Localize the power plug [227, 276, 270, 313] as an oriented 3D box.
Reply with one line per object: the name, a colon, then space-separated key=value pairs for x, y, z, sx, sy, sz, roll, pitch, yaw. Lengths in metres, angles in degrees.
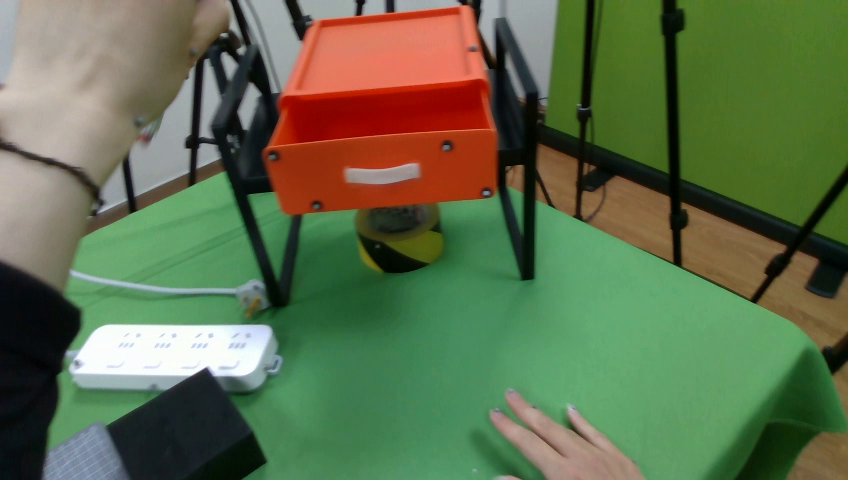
power plug: x=-0.213 y=0.071 z=0.722 sx=0.072 sy=0.035 sz=0.052 roll=-31 pitch=23 yaw=33

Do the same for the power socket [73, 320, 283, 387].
power socket: x=-0.266 y=0.121 z=0.654 sx=0.226 sy=0.033 sz=0.071 roll=-1 pitch=39 yaw=8

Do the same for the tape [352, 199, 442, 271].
tape: x=-0.033 y=-0.018 z=0.777 sx=0.117 sy=0.053 sz=0.115 roll=-3 pitch=41 yaw=3

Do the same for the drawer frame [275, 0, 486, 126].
drawer frame: x=-0.042 y=-0.180 z=0.666 sx=0.201 sy=0.083 sz=0.211 roll=-6 pitch=39 yaw=2

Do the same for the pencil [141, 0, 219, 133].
pencil: x=-0.131 y=-0.141 z=0.368 sx=0.012 sy=0.194 sz=0.012 roll=31 pitch=27 yaw=-18

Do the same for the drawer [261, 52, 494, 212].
drawer: x=-0.039 y=-0.121 z=0.596 sx=0.194 sy=0.074 sz=0.209 roll=-5 pitch=38 yaw=3
